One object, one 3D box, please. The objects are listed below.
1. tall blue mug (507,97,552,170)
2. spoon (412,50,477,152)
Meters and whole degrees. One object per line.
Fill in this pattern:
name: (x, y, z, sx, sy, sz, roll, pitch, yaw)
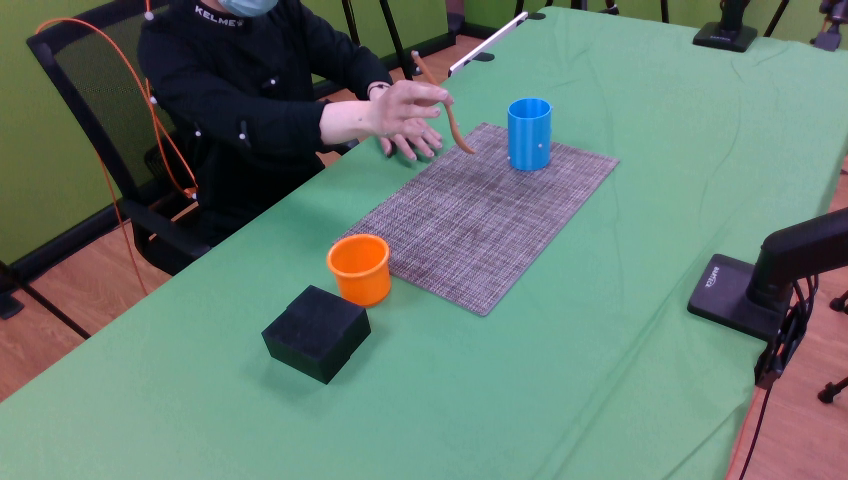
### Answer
tall blue mug: (0.179, -0.198, 1.101, 0.078, 0.108, 0.106, -36, 49, -28)
spoon: (0.032, -0.210, 0.933, 0.021, 0.195, 0.041, -31, 32, 1)
